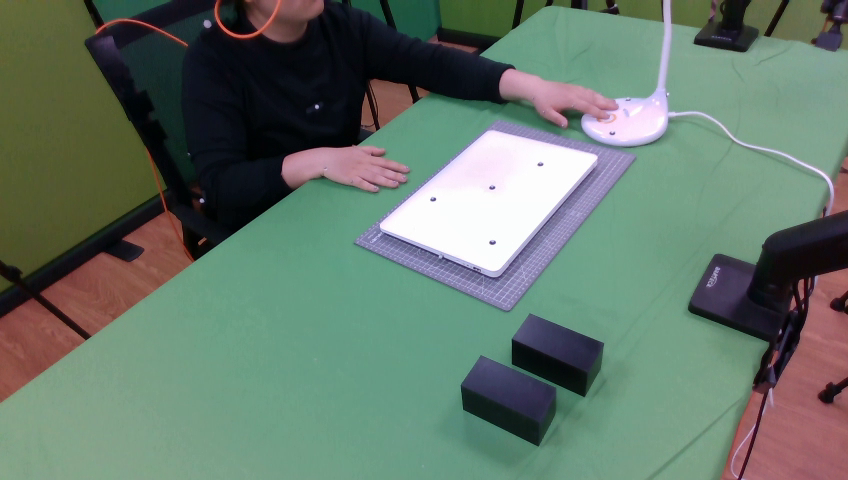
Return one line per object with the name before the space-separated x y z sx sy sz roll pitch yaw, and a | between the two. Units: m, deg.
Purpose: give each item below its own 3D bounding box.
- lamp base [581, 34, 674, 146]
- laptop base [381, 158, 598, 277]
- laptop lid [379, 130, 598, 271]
lamp base | 0.393 -0.291 1.129 0.180 0.181 0.159 -11 41 -8
laptop base | 0.120 -0.077 1.043 0.233 0.023 0.355 20 47 32
laptop lid | 0.117 -0.087 1.037 0.240 0.013 0.358 22 48 33
